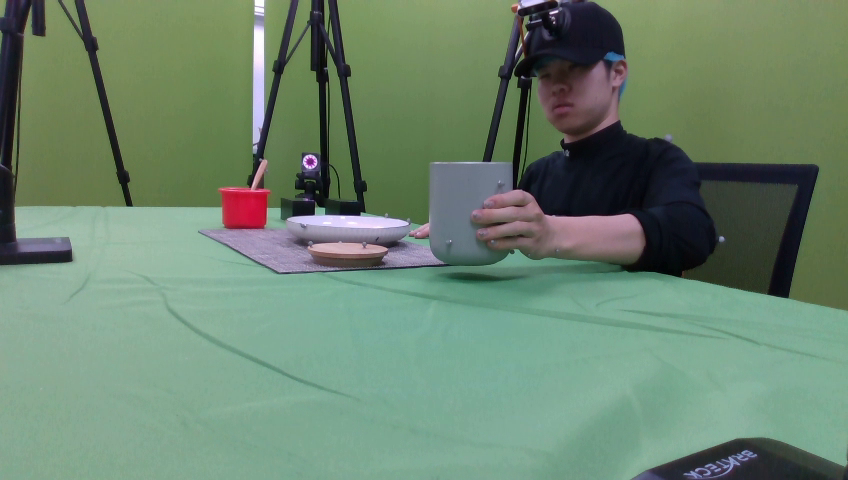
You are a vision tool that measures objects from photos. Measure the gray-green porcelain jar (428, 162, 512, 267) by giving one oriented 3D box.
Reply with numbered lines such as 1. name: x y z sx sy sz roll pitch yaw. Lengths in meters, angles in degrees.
1. gray-green porcelain jar: 0.057 -0.034 0.759 0.106 0.126 0.106 -1 8 0

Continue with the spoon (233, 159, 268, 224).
1. spoon: -0.342 -0.101 1.219 0.041 0.021 0.193 4 51 3

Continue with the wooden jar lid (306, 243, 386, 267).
1. wooden jar lid: -0.105 0.020 0.816 0.108 0.020 0.108 1 7 0

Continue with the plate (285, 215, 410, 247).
1. plate: -0.127 -0.015 1.012 0.208 0.039 0.207 3 7 0
